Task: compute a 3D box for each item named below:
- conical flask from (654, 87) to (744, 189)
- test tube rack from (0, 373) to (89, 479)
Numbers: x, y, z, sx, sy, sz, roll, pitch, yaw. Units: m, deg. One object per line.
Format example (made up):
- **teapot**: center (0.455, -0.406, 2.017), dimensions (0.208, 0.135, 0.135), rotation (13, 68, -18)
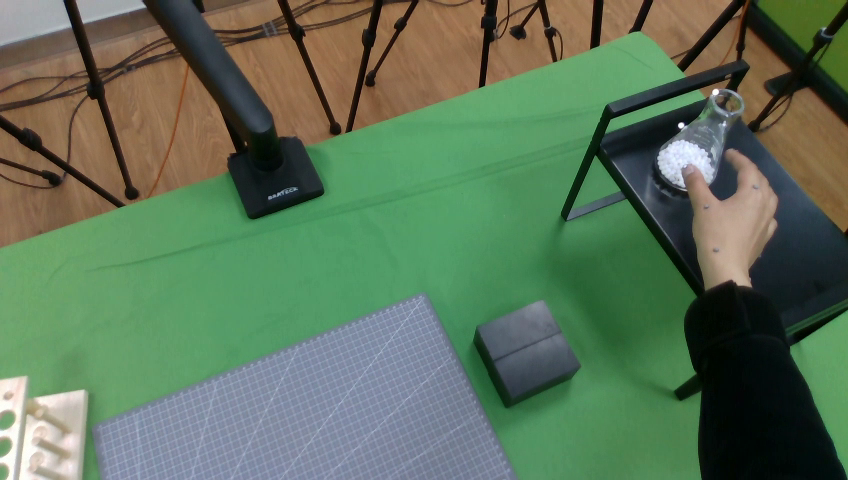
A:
- **conical flask**: center (0.322, -0.120, 0.699), dimensions (0.075, 0.123, 0.074), rotation (2, 60, -2)
- **test tube rack**: center (-0.433, 0.275, 0.670), dimensions (0.067, 0.086, 0.240), rotation (-8, 61, -7)
